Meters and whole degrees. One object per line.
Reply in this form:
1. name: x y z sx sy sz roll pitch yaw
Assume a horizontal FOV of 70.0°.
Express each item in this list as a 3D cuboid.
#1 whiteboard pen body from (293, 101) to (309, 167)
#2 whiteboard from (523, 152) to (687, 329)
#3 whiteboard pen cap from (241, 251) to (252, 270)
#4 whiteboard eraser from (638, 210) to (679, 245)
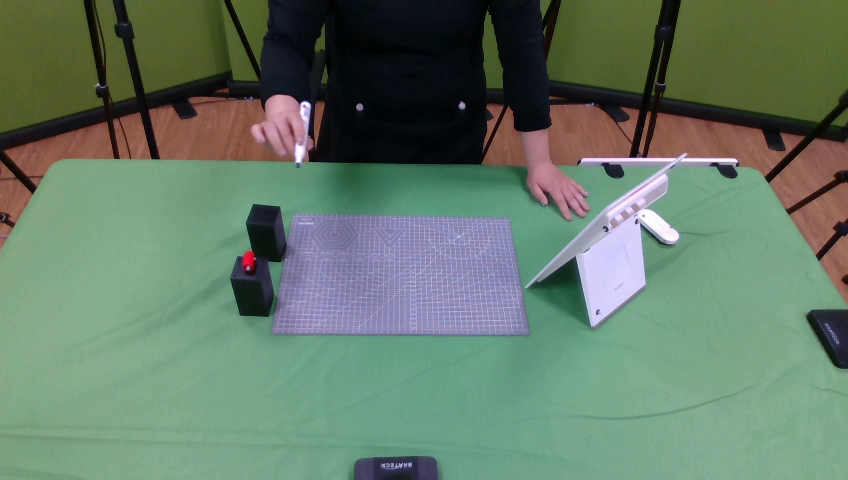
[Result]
1. whiteboard pen body: -0.200 -0.173 0.985 0.017 0.017 0.140 2 57 -3
2. whiteboard: 0.346 0.025 1.046 0.217 0.306 0.143 -30 74 -29
3. whiteboard pen cap: -0.294 0.033 1.005 0.017 0.017 0.032 -3 44 -7
4. whiteboard eraser: 0.485 -0.027 1.260 0.041 0.019 0.100 -21 50 -21
